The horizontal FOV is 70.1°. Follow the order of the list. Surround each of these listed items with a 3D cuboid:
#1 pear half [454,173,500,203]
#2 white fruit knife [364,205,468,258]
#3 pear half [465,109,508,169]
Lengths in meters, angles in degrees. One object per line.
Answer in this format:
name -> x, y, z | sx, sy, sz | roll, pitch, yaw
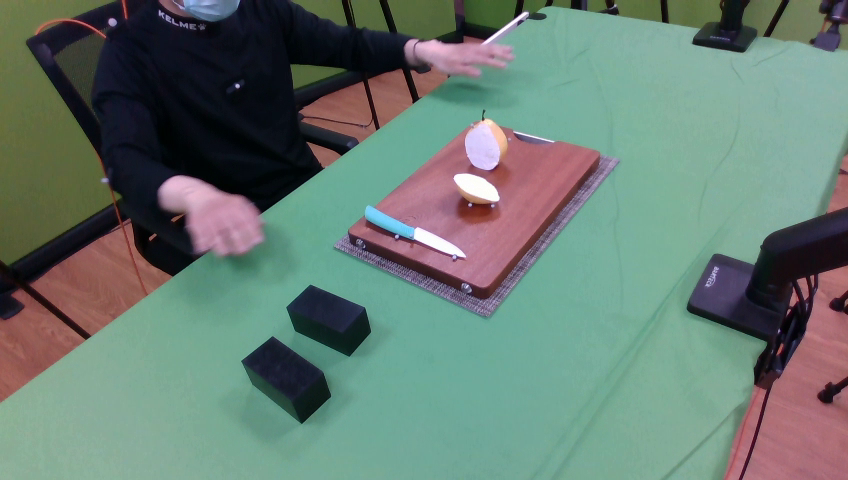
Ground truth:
pear half -> 0.086, -0.079, 0.994 | 0.071, 0.031, 0.087 | -22, 54, -39
white fruit knife -> -0.017, -0.012, 0.943 | 0.206, 0.016, 0.027 | 24, 64, 29
pear half -> 0.112, -0.185, 1.055 | 0.076, 0.110, 0.056 | 18, 46, 22
